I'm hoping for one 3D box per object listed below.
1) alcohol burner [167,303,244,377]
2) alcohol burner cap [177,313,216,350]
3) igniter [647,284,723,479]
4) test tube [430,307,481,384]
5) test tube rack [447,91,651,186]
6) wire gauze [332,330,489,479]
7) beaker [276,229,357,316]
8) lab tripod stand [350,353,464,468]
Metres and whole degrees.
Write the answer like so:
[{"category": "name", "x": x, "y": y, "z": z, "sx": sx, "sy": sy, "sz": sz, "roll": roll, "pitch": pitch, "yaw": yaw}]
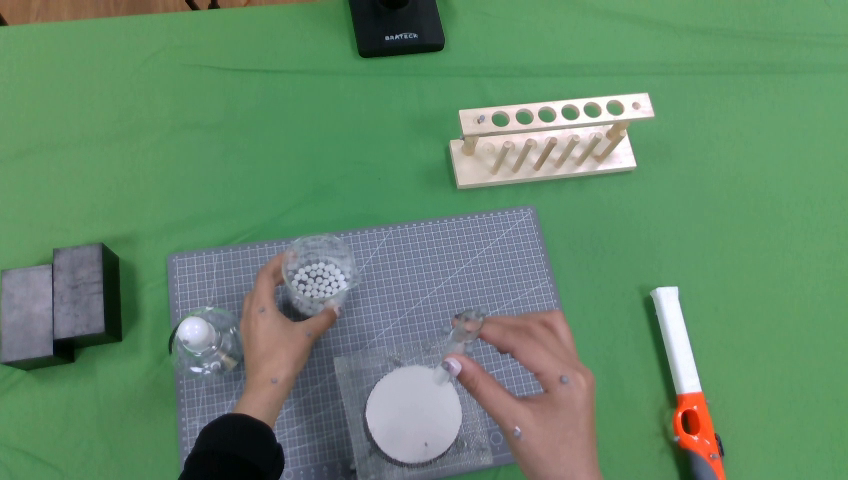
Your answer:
[{"category": "alcohol burner", "x": -0.228, "y": 0.099, "z": 0.624, "sx": 0.078, "sy": 0.119, "sz": 0.077, "roll": 2, "pitch": 69, "yaw": -5}, {"category": "alcohol burner cap", "x": -0.223, "y": 0.088, "z": 0.590, "sx": 0.034, "sy": 0.048, "sz": 0.033, "roll": 3, "pitch": 72, "yaw": -10}, {"category": "igniter", "x": 0.307, "y": 0.186, "z": 0.709, "sx": 0.057, "sy": 0.025, "sz": 0.274, "roll": -1, "pitch": 71, "yaw": -18}, {"category": "test tube", "x": 0.019, "y": 0.080, "z": 0.432, "sx": 0.017, "sy": 0.151, "sz": 0.017, "roll": 3, "pitch": 64, "yaw": -6}, {"category": "test tube rack", "x": 0.158, "y": -0.128, "z": 0.768, "sx": 0.243, "sy": 0.085, "sz": 0.066, "roll": -7, "pitch": 72, "yaw": -9}, {"category": "wire gauze", "x": -0.012, "y": 0.151, "z": 0.551, "sx": 0.125, "sy": 0.011, "sz": 0.120, "roll": -10, "pitch": 71, "yaw": -10}, {"category": "beaker", "x": -0.116, "y": 0.041, "z": 0.664, "sx": 0.084, "sy": 0.100, "sz": 0.073, "roll": 18, "pitch": 69, "yaw": -5}, {"category": "lab tripod stand", "x": -0.021, "y": 0.176, "z": 0.613, "sx": 0.148, "sy": 0.132, "sz": 0.147, "roll": 2, "pitch": 70, "yaw": -4}]
